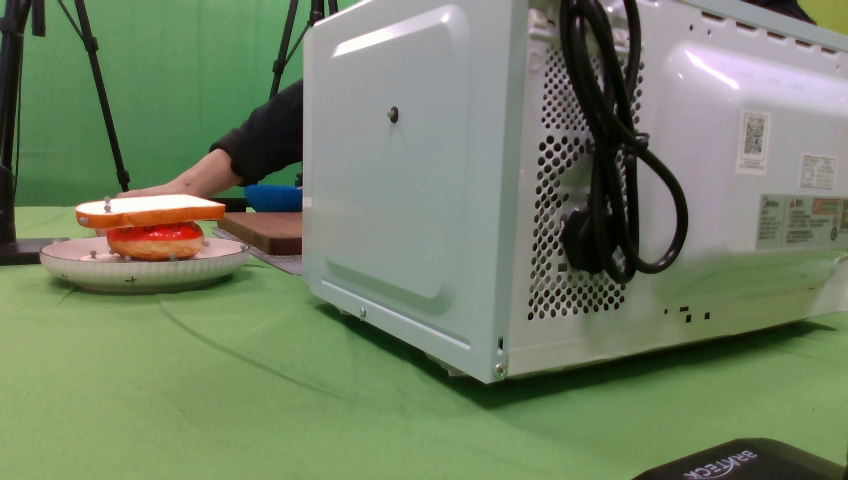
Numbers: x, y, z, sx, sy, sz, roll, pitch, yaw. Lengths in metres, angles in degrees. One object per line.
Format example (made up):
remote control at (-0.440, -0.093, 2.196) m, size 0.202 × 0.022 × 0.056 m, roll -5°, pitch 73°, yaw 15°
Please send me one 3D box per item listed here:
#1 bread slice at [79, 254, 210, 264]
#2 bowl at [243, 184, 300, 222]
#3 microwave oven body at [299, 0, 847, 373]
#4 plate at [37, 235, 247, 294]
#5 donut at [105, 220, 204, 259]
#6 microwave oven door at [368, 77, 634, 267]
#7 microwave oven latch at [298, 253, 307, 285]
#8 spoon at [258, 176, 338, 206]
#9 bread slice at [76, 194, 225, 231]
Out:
bread slice at (-0.301, 0.028, 0.662) m, size 0.132 × 0.019 × 0.104 m, roll -3°, pitch 7°, yaw -44°
bowl at (-0.322, -0.081, 1.334) m, size 0.151 × 0.077 × 0.151 m, roll 3°, pitch 7°, yaw 0°
microwave oven body at (0.151, -0.055, 0.543) m, size 0.444 × 0.260 × 0.324 m, roll -2°, pitch 7°, yaw -33°
plate at (-0.304, 0.025, 0.669) m, size 0.208 × 0.039 × 0.207 m, roll 2°, pitch 8°, yaw 0°
donut at (-0.296, -0.003, 0.669) m, size 0.099 × 0.048 × 0.099 m, roll 4°, pitch 2°, yaw 0°
microwave oven door at (0.094, -0.099, 0.831) m, size 0.355 × 0.243 × 0.039 m, roll 5°, pitch 7°, yaw 18°
microwave oven latch at (-0.081, 0.027, 0.583) m, size 0.079 × 0.029 × 0.030 m, roll -1°, pitch 7°, yaw -32°
spoon at (-0.279, -0.112, 1.357) m, size 0.194 × 0.021 × 0.041 m, roll -27°, pitch 19°, yaw -27°
bread slice at (-0.300, -0.032, 0.659) m, size 0.106 × 0.018 × 0.135 m, roll 11°, pitch 17°, yaw 42°
